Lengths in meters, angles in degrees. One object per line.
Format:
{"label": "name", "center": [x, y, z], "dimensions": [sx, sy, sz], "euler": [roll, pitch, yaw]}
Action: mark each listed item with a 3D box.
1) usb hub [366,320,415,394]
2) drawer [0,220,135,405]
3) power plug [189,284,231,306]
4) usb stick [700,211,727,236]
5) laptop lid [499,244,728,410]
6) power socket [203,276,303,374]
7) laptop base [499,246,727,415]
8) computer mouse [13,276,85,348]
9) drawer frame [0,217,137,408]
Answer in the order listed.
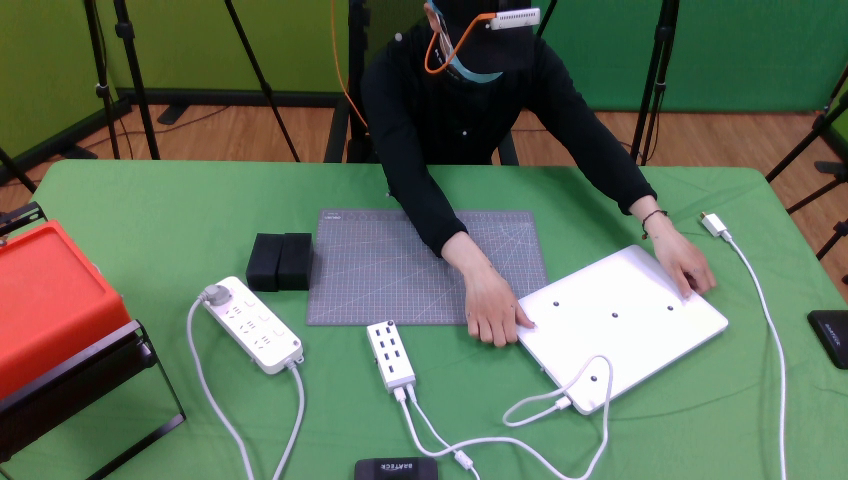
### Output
{"label": "usb hub", "center": [-0.056, 0.192, 1.009], "dimensions": [0.049, 0.025, 0.124], "euler": [-12, 49, -16]}
{"label": "drawer", "center": [-0.522, 0.093, 0.782], "dimensions": [0.193, 0.073, 0.211], "euler": [38, 55, 27]}
{"label": "power plug", "center": [-0.368, 0.100, 1.037], "dimensions": [0.072, 0.053, 0.035], "euler": [-23, 54, -27]}
{"label": "usb stick", "center": [0.606, -0.038, 1.273], "dimensions": [0.027, 0.021, 0.059], "euler": [-17, 57, -20]}
{"label": "laptop lid", "center": [0.338, 0.136, 1.080], "dimensions": [0.357, 0.013, 0.240], "euler": [-21, 50, -23]}
{"label": "power socket", "center": [-0.296, 0.141, 1.034], "dimensions": [0.072, 0.033, 0.225], "euler": [-35, 58, -30]}
{"label": "laptop base", "center": [0.339, 0.147, 1.088], "dimensions": [0.354, 0.023, 0.234], "euler": [-22, 49, -24]}
{"label": "computer mouse", "center": [-0.496, 0.090, 0.804], "dimensions": [0.063, 0.041, 0.116], "euler": [-7, 42, -7]}
{"label": "drawer frame", "center": [-0.523, 0.094, 0.779], "dimensions": [0.200, 0.083, 0.213], "euler": [37, 55, 26]}
